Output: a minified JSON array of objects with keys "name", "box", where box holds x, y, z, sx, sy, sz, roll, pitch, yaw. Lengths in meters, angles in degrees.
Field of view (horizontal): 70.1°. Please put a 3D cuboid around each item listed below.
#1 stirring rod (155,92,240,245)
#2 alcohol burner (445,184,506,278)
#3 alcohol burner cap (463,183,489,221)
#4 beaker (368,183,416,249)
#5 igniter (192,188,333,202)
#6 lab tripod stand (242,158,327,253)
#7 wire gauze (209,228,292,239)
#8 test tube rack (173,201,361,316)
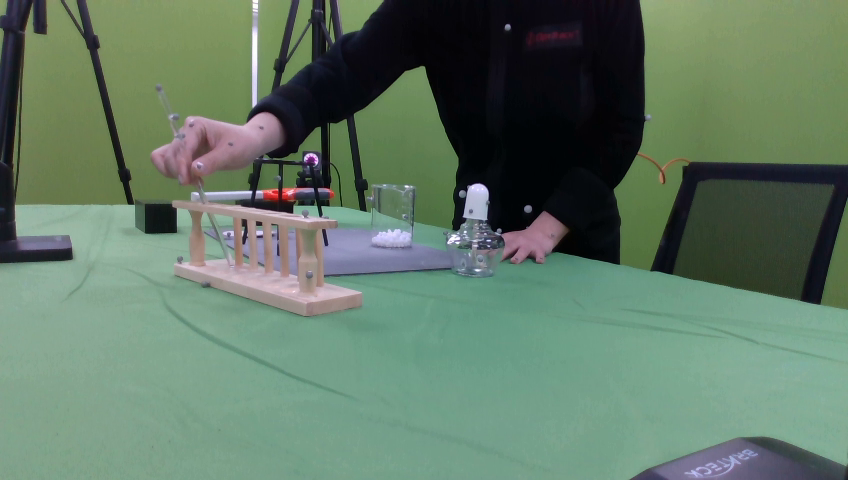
[{"name":"stirring rod","box":[-0.239,-0.074,0.642,0.006,0.176,0.014,-21,12,13]},{"name":"alcohol burner","box":[0.065,-0.012,0.770,0.078,0.119,0.078,0,7,0]},{"name":"alcohol burner cap","box":[0.067,-0.048,0.765,0.034,0.048,0.034,5,5,0]},{"name":"beaker","box":[-0.050,-0.039,0.971,0.074,0.100,0.083,-1,9,-25]},{"name":"igniter","box":[-0.316,-0.090,1.212,0.278,0.025,0.057,-5,12,-32]},{"name":"lab tripod stand","box":[-0.207,-0.054,0.894,0.148,0.131,0.148,3,5,0]},{"name":"wire gauze","box":[-0.298,-0.013,1.039,0.122,0.011,0.124,-2,6,-27]},{"name":"test tube rack","box":[-0.169,0.010,0.621,0.241,0.085,0.067,9,9,41]}]
